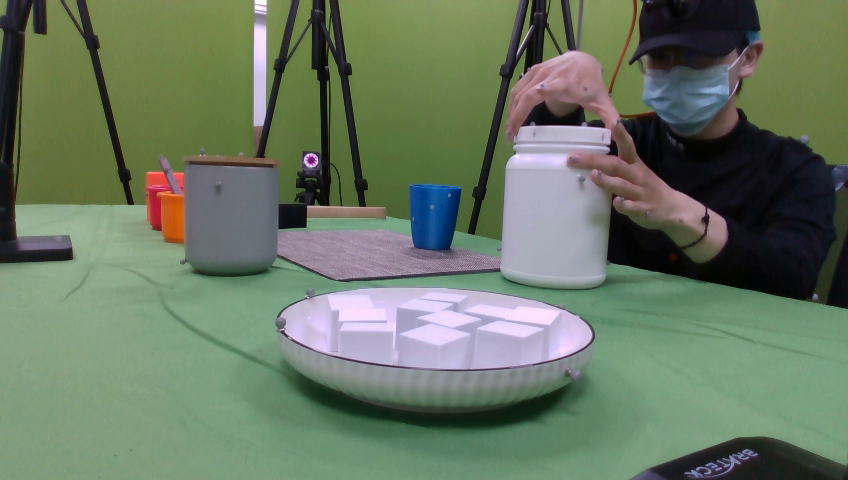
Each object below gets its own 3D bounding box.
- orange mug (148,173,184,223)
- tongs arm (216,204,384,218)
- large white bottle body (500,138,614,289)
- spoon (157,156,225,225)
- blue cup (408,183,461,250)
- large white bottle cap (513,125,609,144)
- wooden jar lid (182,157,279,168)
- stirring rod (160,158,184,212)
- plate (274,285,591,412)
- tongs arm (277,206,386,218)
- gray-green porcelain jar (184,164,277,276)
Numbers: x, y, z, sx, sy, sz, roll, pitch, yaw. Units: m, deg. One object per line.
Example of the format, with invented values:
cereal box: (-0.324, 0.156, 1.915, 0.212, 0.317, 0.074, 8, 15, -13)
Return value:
orange mug: (-0.490, -0.087, 1.222, 0.127, 0.101, 0.083, -9, 13, -38)
tongs arm: (-0.288, -0.069, 1.435, 0.389, 0.027, 0.028, 0, -1, -17)
large white bottle body: (0.163, -0.041, 0.744, 0.131, 0.184, 0.130, 2, 7, 0)
spoon: (-0.425, -0.094, 1.117, 0.041, 0.022, 0.194, 5, 51, 29)
blue cup: (0.015, -0.038, 0.969, 0.093, 0.100, 0.092, 3, 9, 0)
large white bottle cap: (0.166, -0.127, 0.733, 0.115, 0.018, 0.115, 2, 7, 0)
wooden jar lid: (-0.227, -0.086, 0.714, 0.108, 0.020, 0.108, 1, 6, 0)
stirring rod: (-0.391, -0.070, 0.972, 0.014, 0.006, 0.175, -1, 50, -49)
plate: (0.005, 0.069, 0.408, 0.208, 0.039, 0.207, 2, 7, 0)
tongs arm: (-0.251, -0.063, 1.360, 0.387, 0.026, 0.050, -1, 3, -31)
gray-green porcelain jar: (-0.230, -0.025, 0.722, 0.106, 0.126, 0.106, 3, 7, 0)
